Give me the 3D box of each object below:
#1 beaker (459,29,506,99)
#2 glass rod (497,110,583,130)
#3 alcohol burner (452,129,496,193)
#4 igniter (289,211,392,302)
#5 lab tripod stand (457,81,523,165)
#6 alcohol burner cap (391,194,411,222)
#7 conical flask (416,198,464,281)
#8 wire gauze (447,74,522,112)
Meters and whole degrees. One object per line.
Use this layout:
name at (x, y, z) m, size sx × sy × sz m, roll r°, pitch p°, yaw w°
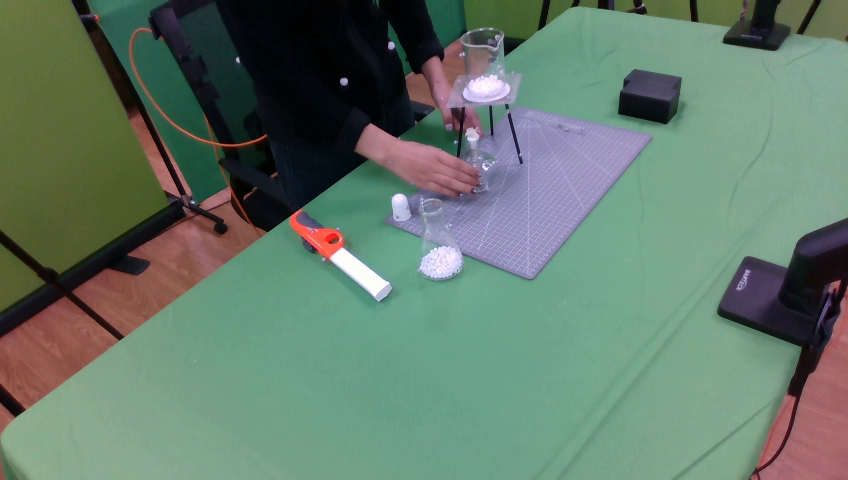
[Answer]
beaker at (0.107, -0.305, 1.056) m, size 0.074 × 0.101 × 0.083 m, roll -27°, pitch 43°, yaw -18°
glass rod at (0.233, -0.245, 1.235) m, size 0.198 × 0.008 × 0.008 m, roll 20°, pitch 49°, yaw 35°
alcohol burner at (0.087, -0.143, 1.061) m, size 0.078 × 0.119 × 0.077 m, roll -4°, pitch 39°, yaw 4°
igniter at (-0.145, 0.019, 0.985) m, size 0.057 × 0.025 × 0.274 m, roll -40°, pitch 48°, yaw -17°
lab tripod stand at (0.120, -0.219, 1.130) m, size 0.148 × 0.132 × 0.147 m, roll -7°, pitch 38°, yaw 6°
alcohol burner cap at (-0.041, -0.057, 1.040) m, size 0.034 × 0.048 × 0.033 m, roll -5°, pitch 40°, yaw 5°
conical flask at (0.019, -0.004, 0.907) m, size 0.075 × 0.122 × 0.075 m, roll -5°, pitch 40°, yaw 5°
wire gauze at (0.110, -0.268, 1.087) m, size 0.121 × 0.011 × 0.125 m, roll 1°, pitch 43°, yaw 15°
